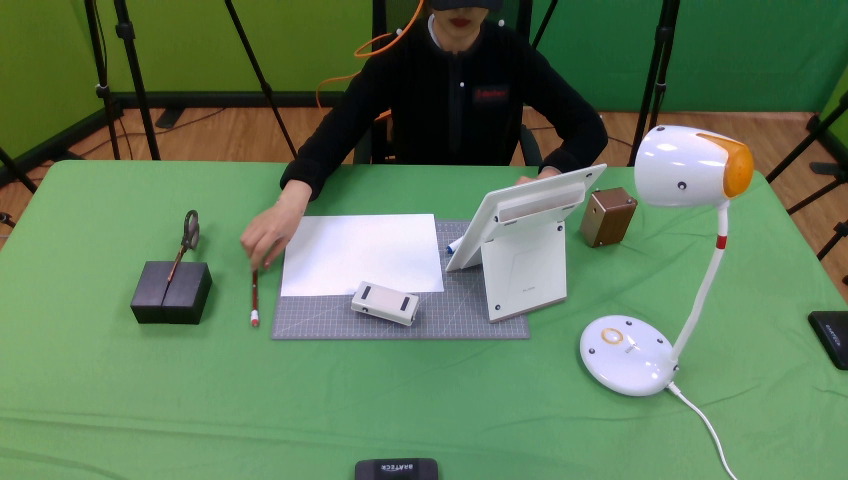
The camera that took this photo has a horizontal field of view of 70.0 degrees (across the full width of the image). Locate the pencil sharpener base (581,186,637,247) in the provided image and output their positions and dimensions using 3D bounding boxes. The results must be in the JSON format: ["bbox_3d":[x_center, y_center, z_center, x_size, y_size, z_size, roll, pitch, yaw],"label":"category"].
[{"bbox_3d":[0.369,-0.047,1.208,0.077,0.107,0.061,-11,47,-15],"label":"pencil sharpener base"}]

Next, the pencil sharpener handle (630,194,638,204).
[{"bbox_3d":[0.417,-0.068,1.215,0.031,0.068,0.036,-11,61,-15],"label":"pencil sharpener handle"}]

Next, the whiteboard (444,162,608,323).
[{"bbox_3d":[0.186,0.025,1.029,0.217,0.306,0.143,-14,68,-17],"label":"whiteboard"}]

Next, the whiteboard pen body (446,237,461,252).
[{"bbox_3d":[0.103,-0.015,1.199,0.141,0.017,0.017,-31,55,-16],"label":"whiteboard pen body"}]

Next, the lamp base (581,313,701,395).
[{"bbox_3d":[0.361,0.144,0.972,0.178,0.181,0.160,34,53,23],"label":"lamp base"}]

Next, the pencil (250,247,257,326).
[{"bbox_3d":[-0.311,0.079,1.107,0.012,0.012,0.192,-6,46,-10],"label":"pencil"}]

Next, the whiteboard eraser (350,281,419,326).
[{"bbox_3d":[-0.069,0.113,1.065,0.112,0.042,0.055,14,46,9],"label":"whiteboard eraser"}]

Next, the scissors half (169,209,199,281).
[{"bbox_3d":[-0.438,0.007,1.098,0.013,0.040,0.174,3,48,-3],"label":"scissors half"}]

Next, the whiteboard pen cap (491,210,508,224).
[{"bbox_3d":[0.152,-0.045,1.215,0.033,0.018,0.018,-36,57,-15],"label":"whiteboard pen cap"}]

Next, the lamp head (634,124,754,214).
[{"bbox_3d":[0.351,-0.089,0.775,0.112,0.113,0.122,-30,30,-28],"label":"lamp head"}]

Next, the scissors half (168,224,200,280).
[{"bbox_3d":[-0.440,0.023,1.111,0.013,0.040,0.174,7,29,-6],"label":"scissors half"}]
